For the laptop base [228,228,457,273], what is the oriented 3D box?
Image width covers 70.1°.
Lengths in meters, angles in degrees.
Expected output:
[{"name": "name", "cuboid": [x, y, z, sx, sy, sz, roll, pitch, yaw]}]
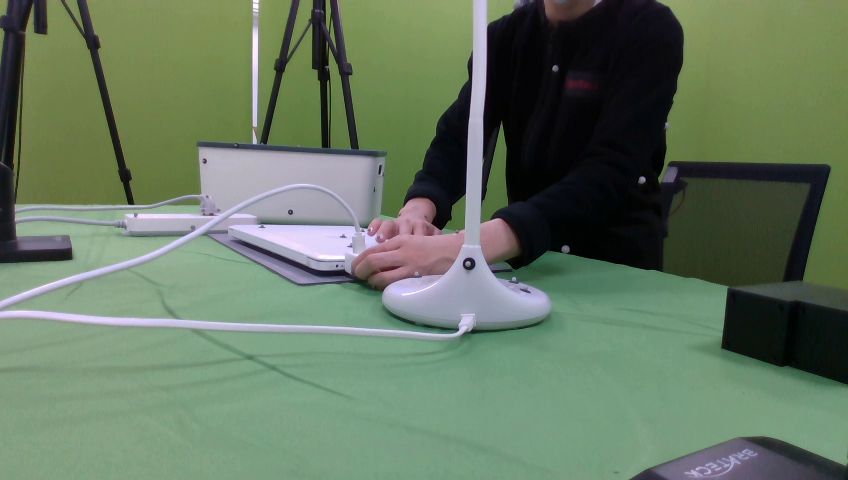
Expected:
[{"name": "laptop base", "cuboid": [-0.122, 0.012, 0.888, 0.237, 0.023, 0.352, 1, 7, -35]}]

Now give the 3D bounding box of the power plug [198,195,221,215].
[{"name": "power plug", "cuboid": [-0.387, -0.055, 1.089, 0.035, 0.052, 0.072, -1, 6, -22]}]

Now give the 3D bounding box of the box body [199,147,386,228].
[{"name": "box body", "cuboid": [-0.276, -0.124, 1.334, 0.364, 0.160, 0.254, 3, 7, 1]}]

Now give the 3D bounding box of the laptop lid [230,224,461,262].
[{"name": "laptop lid", "cuboid": [-0.119, 0.000, 0.888, 0.243, 0.013, 0.355, 1, 7, -33]}]

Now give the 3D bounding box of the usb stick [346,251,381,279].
[{"name": "usb stick", "cuboid": [-0.073, 0.027, 0.686, 0.021, 0.027, 0.059, -8, 8, -34]}]

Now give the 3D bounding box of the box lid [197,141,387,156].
[{"name": "box lid", "cuboid": [-0.275, -0.198, 1.325, 0.372, 0.015, 0.263, 3, 8, 1]}]

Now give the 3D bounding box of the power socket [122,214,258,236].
[{"name": "power socket", "cuboid": [-0.399, -0.028, 1.049, 0.228, 0.032, 0.072, -3, 8, -34]}]

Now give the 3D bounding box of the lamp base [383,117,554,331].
[{"name": "lamp base", "cuboid": [0.045, -0.019, 0.547, 0.161, 0.180, 0.179, 2, 10, -4]}]
